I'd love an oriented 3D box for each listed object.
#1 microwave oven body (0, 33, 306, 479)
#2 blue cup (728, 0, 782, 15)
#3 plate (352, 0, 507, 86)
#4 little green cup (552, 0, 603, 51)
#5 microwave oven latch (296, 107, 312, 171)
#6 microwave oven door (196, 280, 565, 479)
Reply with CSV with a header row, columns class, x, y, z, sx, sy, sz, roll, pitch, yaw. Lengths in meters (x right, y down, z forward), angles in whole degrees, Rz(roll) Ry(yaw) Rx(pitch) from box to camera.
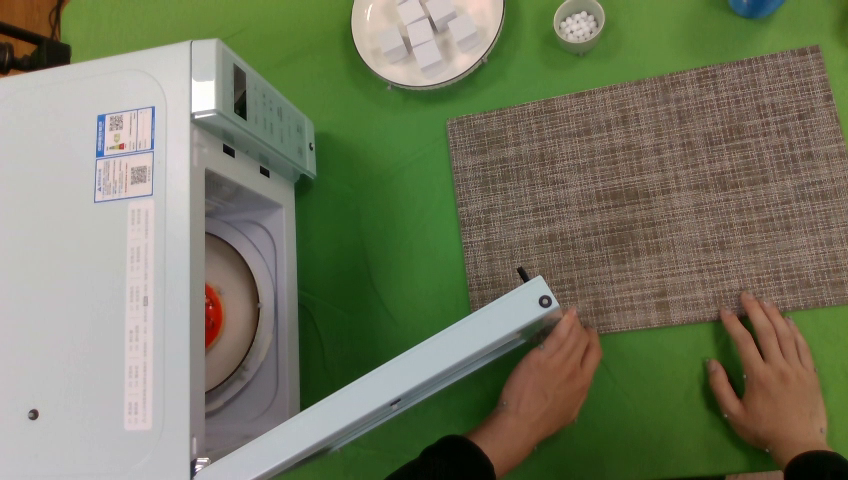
class,x,y,z,sx,sy,sz,roll,pitch,yaw
microwave oven body,-0.318,0.041,0.711,0.325,0.261,0.440,-6,81,12
blue cup,0.388,-0.307,0.688,0.092,0.101,0.092,-2,82,12
plate,0.008,-0.300,0.807,0.207,0.039,0.207,-2,81,13
little green cup,0.193,-0.270,0.760,0.061,0.039,0.061,-2,81,13
microwave oven latch,-0.164,-0.133,0.802,0.030,0.029,0.079,-4,81,12
microwave oven door,-0.021,0.147,0.621,0.356,0.245,0.039,-31,75,7
